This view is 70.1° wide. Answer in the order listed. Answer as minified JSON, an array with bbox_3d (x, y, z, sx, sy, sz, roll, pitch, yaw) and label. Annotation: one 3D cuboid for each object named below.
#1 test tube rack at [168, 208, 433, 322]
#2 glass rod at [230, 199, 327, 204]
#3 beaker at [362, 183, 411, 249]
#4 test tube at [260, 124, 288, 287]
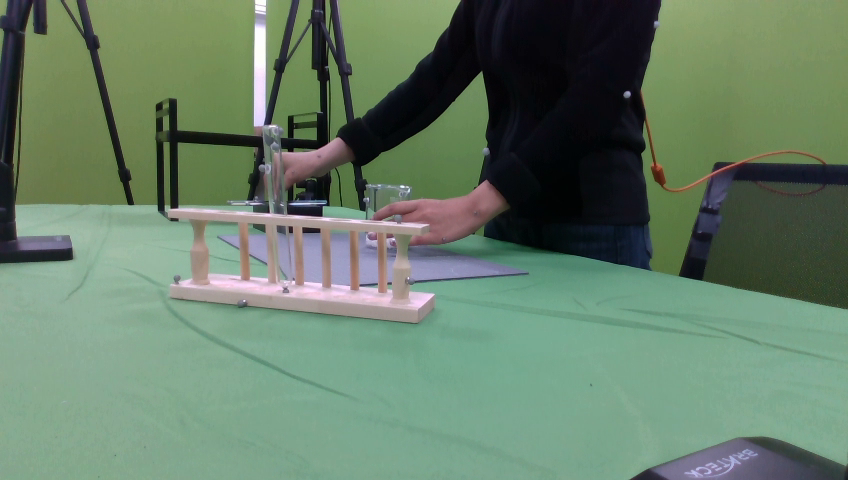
[{"bbox_3d":[-0.115,0.017,0.574,0.242,0.085,0.067,4,8,13],"label":"test tube rack"},{"bbox_3d":[-0.270,-0.073,1.145,0.201,0.008,0.008,-5,10,-41],"label":"glass rod"},{"bbox_3d":[-0.057,-0.039,0.955,0.083,0.100,0.074,8,10,42],"label":"beaker"},{"bbox_3d":[-0.138,-0.031,0.556,0.017,0.150,0.017,-3,6,1],"label":"test tube"}]
